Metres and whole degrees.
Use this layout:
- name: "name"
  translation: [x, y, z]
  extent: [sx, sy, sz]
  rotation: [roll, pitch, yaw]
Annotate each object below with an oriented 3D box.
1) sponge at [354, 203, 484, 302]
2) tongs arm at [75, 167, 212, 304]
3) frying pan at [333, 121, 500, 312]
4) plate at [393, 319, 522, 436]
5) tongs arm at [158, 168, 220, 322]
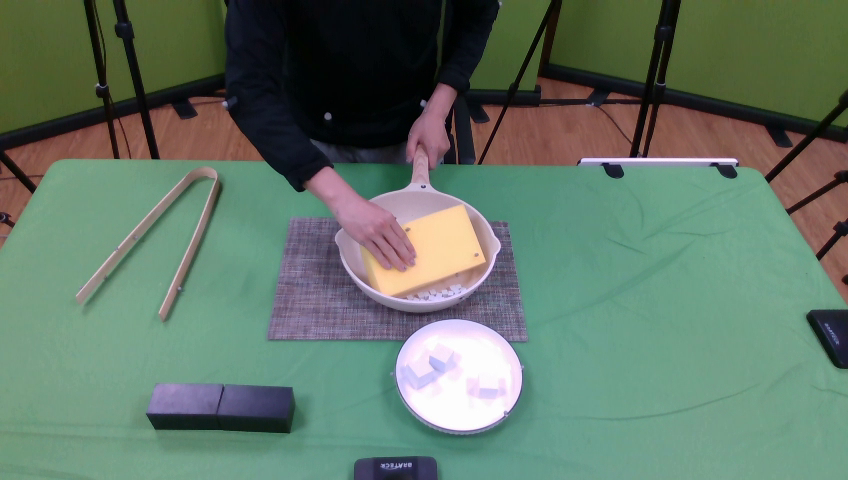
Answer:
- name: "sponge"
  translation: [-0.008, 0.022, 1.099]
  extent: [0.207, 0.061, 0.118]
  rotation: [-19, 84, -22]
- name: "tongs arm"
  translation: [-0.525, -0.021, 1.167]
  extent: [0.051, 0.026, 0.383]
  rotation: [13, 46, 7]
- name: "frying pan"
  translation: [-0.010, -0.063, 1.195]
  extent: [0.307, 0.103, 0.485]
  rotation: [4, 55, -2]
- name: "plate"
  translation: [0.053, 0.222, 0.979]
  extent: [0.208, 0.039, 0.206]
  rotation: [3, 46, -2]
- name: "tongs arm"
  translation: [-0.446, -0.005, 1.164]
  extent: [0.028, 0.028, 0.385]
  rotation: [2, 46, 0]
